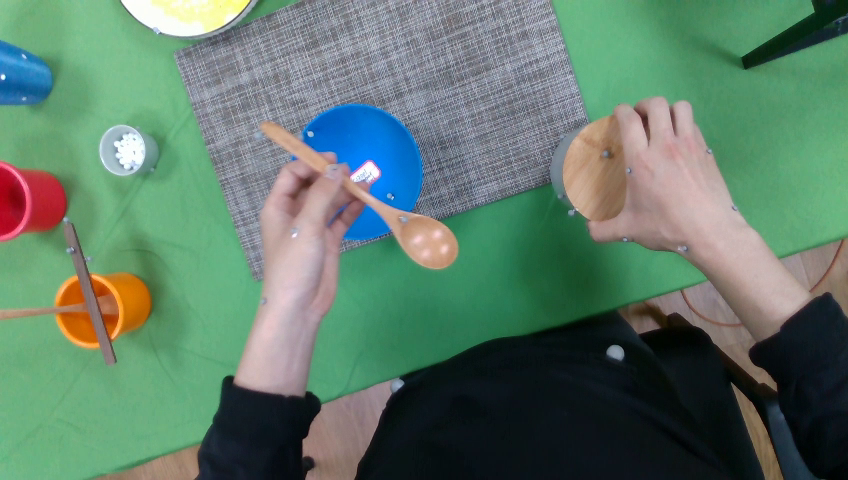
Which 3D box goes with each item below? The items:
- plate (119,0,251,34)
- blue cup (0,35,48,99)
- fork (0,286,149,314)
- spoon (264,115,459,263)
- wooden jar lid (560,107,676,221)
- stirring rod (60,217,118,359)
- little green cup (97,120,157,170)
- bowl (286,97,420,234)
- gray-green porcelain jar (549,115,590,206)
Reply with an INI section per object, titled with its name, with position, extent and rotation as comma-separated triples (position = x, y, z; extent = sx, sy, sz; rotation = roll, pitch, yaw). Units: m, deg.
[plate]
position = -0.281, -0.349, 0.719
extent = 0.209, 0.038, 0.209
rotation = 1, 96, 6
[blue cup]
position = -0.516, -0.209, 0.729
extent = 0.092, 0.100, 0.093
rotation = 1, 97, 8
[fork]
position = -0.444, 0.077, 0.727
extent = 0.208, 0.018, 0.028
rotation = -3, 99, -36
[spoon]
position = -0.050, -0.044, 0.507
extent = 0.195, 0.021, 0.041
rotation = 37, 97, -18
[wooden jar lid]
position = 0.185, -0.072, 0.583
extent = 0.108, 0.020, 0.108
rotation = 1, 98, 5
[stirring rod]
position = -0.396, 0.057, 0.717
extent = 0.014, 0.006, 0.176
rotation = -16, 94, 6
[little green cup]
position = -0.367, -0.117, 0.753
extent = 0.061, 0.038, 0.061
rotation = 1, 96, 7
[bowl]
position = -0.074, -0.084, 0.698
extent = 0.151, 0.077, 0.151
rotation = 1, 96, 7
[gray-green porcelain jar]
position = 0.190, -0.081, 0.645
extent = 0.106, 0.126, 0.106
rotation = 1, 99, 4
